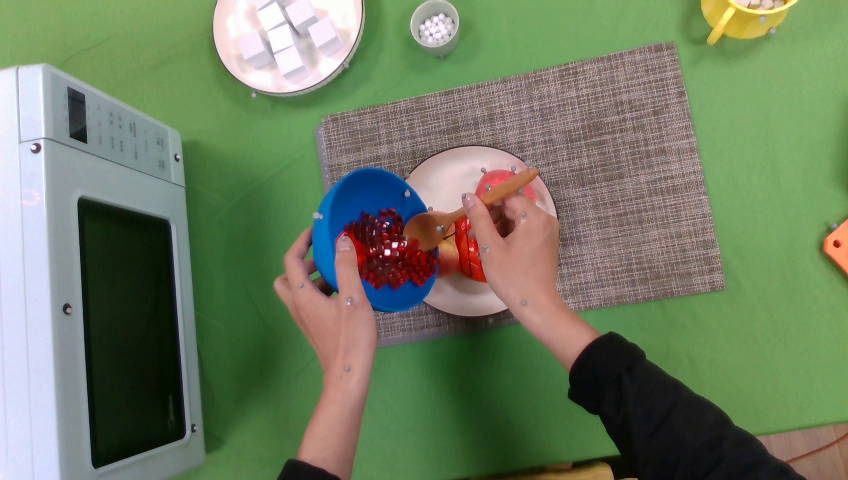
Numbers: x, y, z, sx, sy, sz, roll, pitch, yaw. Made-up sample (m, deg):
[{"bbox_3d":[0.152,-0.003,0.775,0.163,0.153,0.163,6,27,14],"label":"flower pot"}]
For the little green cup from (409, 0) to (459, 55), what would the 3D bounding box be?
[{"bbox_3d":[0.015,-0.266,0.766,0.061,0.039,0.061,-1,84,11],"label":"little green cup"}]

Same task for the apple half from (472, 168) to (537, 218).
[{"bbox_3d":[0.097,-0.061,0.701,0.081,0.033,0.080,2,45,-2],"label":"apple half"}]

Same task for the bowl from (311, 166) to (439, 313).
[{"bbox_3d":[-0.064,0.006,0.628,0.076,0.152,0.151,-18,79,42],"label":"bowl"}]

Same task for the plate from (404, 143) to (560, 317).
[{"bbox_3d":[0.058,-0.012,0.730,0.209,0.038,0.208,-1,84,10],"label":"plate"}]

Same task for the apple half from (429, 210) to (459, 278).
[{"bbox_3d":[-0.002,0.005,0.708,0.074,0.054,0.080,-15,77,50],"label":"apple half"}]

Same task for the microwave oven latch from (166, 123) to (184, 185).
[{"bbox_3d":[-0.336,-0.111,0.795,0.030,0.029,0.079,-7,84,9],"label":"microwave oven latch"}]

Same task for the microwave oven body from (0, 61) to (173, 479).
[{"bbox_3d":[-0.477,0.073,0.704,0.325,0.261,0.440,-8,83,9],"label":"microwave oven body"}]

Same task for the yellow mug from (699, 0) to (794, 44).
[{"bbox_3d":[0.365,-0.281,0.691,0.099,0.064,0.131,37,93,12],"label":"yellow mug"}]

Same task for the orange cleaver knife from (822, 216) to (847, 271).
[{"bbox_3d":[0.512,0.063,0.654,0.077,0.012,0.210,-25,79,1],"label":"orange cleaver knife"}]

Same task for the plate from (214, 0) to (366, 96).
[{"bbox_3d":[-0.174,-0.288,0.803,0.207,0.039,0.207,-1,84,10],"label":"plate"}]

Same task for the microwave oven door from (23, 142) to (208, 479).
[{"bbox_3d":[-0.330,0.093,0.670,0.039,0.245,0.354,-9,82,9],"label":"microwave oven door"}]

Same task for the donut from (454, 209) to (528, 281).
[{"bbox_3d":[0.073,0.000,0.716,0.099,0.048,0.099,0,89,11],"label":"donut"}]

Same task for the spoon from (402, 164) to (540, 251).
[{"bbox_3d":[0.040,-0.030,0.595,0.193,0.021,0.041,-27,91,50],"label":"spoon"}]
